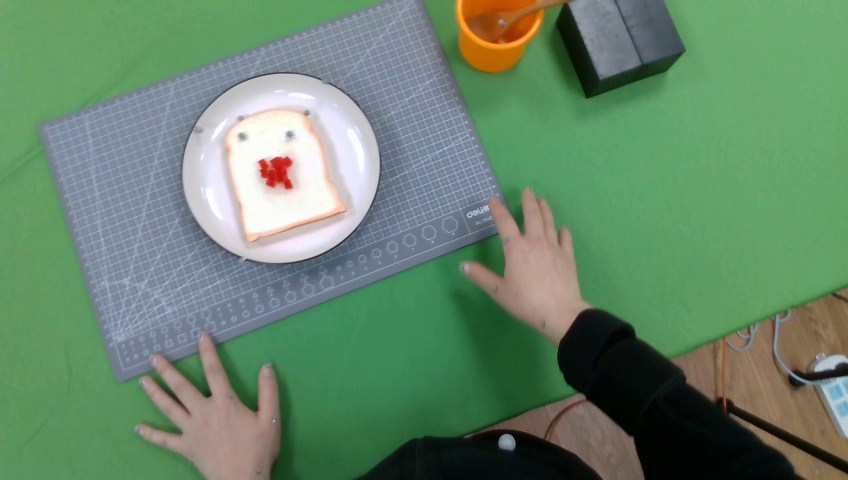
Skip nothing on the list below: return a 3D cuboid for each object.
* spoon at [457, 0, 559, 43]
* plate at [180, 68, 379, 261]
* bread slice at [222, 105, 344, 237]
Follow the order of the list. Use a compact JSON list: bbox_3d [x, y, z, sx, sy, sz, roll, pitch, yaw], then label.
[{"bbox_3d":[0.112,-0.242,0.626,0.022,0.192,0.041,17,76,-44],"label":"spoon"},{"bbox_3d":[-0.150,-0.079,0.649,0.209,0.038,0.208,0,82,-1],"label":"plate"},{"bbox_3d":[-0.159,-0.077,0.649,0.107,0.018,0.134,-21,82,-5],"label":"bread slice"}]
